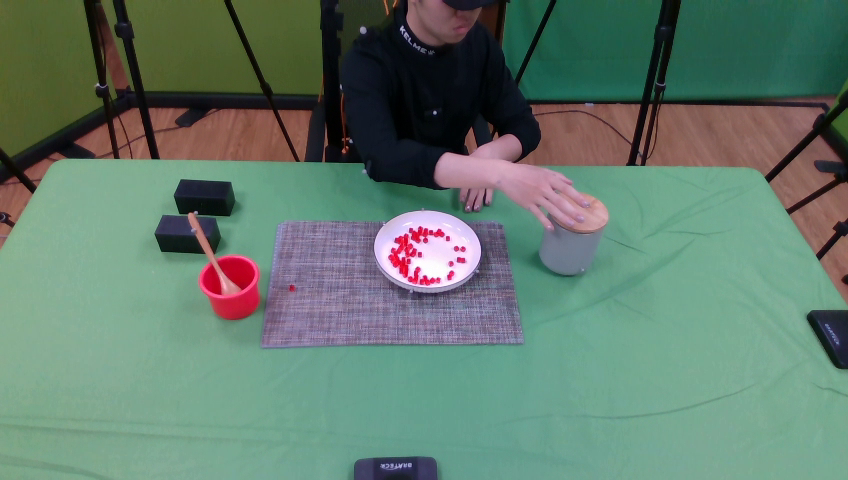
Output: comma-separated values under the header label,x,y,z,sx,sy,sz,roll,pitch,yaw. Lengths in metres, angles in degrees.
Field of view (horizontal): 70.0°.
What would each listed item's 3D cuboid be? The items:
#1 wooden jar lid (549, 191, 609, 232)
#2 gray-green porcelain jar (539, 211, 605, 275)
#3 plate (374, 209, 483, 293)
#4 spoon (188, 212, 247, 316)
label,x,y,z,sx,sy,sz,roll,pitch,yaw
wooden jar lid,0.280,-0.049,1.101,0.108,0.021,0.107,2,44,-2
gray-green porcelain jar,0.278,-0.004,1.148,0.106,0.127,0.105,2,46,-2
plate,0.008,0.024,1.158,0.208,0.039,0.206,2,46,-2
spoon,-0.358,0.042,1.036,0.041,0.021,0.194,-28,93,-22
